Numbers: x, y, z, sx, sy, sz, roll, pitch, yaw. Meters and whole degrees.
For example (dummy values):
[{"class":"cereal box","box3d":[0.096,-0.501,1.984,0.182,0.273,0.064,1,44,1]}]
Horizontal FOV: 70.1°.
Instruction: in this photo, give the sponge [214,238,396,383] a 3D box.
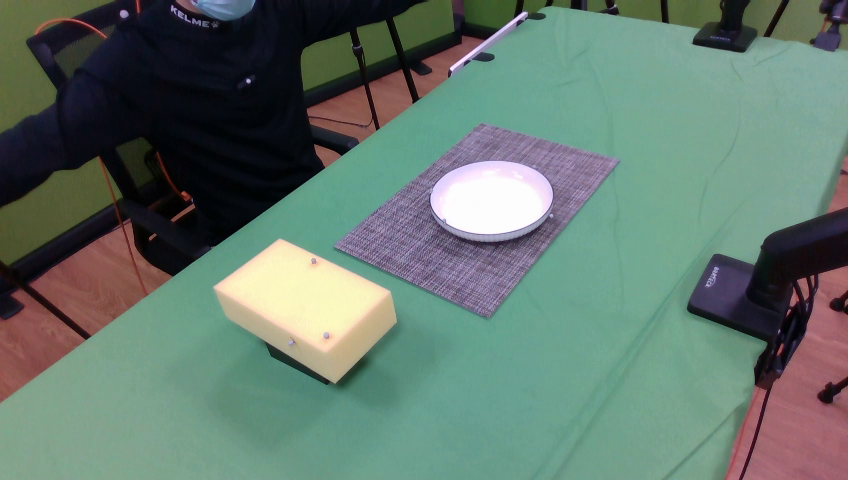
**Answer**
[{"class":"sponge","box3d":[-0.154,0.084,0.787,0.205,0.061,0.118,22,49,29]}]

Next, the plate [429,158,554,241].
[{"class":"plate","box3d":[0.112,-0.065,1.011,0.207,0.039,0.206,-4,41,4]}]
